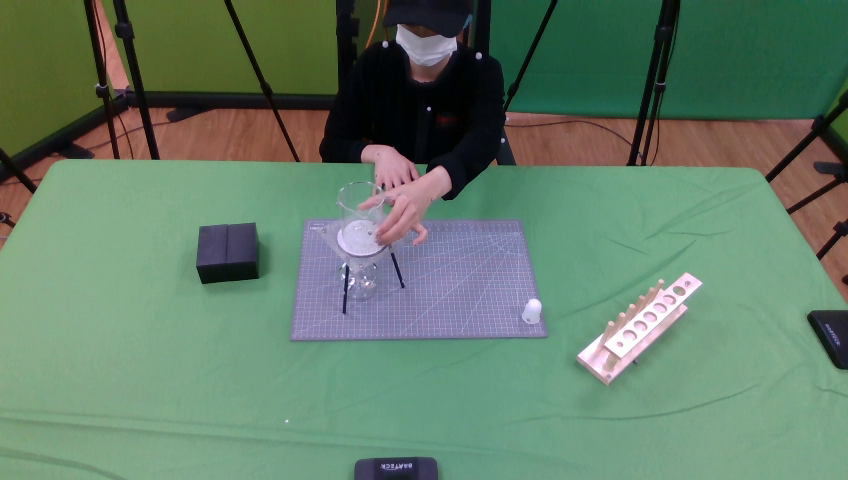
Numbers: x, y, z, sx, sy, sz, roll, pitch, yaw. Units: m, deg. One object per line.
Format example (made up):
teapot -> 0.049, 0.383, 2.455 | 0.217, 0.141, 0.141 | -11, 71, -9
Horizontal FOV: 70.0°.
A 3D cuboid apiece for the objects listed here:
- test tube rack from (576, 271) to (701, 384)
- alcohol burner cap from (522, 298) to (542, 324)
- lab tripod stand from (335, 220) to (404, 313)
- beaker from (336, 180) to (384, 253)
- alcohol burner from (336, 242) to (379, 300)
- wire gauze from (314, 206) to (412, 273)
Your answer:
test tube rack -> 0.373, 0.138, 1.047 | 0.242, 0.085, 0.066 | -31, 56, -29
alcohol burner cap -> 0.193, 0.124, 1.074 | 0.034, 0.048, 0.033 | 1, 46, -1
lab tripod stand -> -0.110, 0.039, 1.070 | 0.148, 0.132, 0.147 | 1, 46, -1
beaker -> -0.101, -0.034, 0.981 | 0.074, 0.101, 0.083 | -6, 46, -9
alcohol burner -> -0.118, 0.050, 1.073 | 0.078, 0.120, 0.077 | 2, 44, -1
wire gauze -> -0.103, -0.007, 1.024 | 0.121, 0.011, 0.124 | -28, 50, -29
